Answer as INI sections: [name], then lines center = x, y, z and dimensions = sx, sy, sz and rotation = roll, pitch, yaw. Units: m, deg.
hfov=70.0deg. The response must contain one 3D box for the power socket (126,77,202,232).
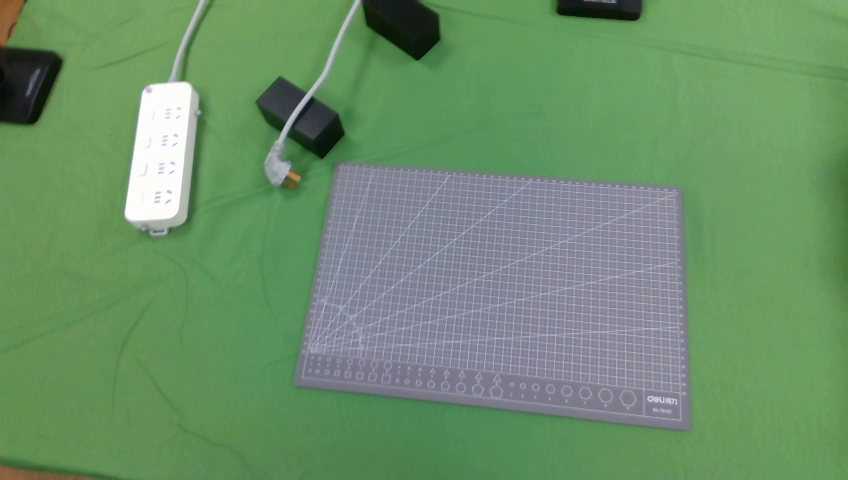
[power socket]
center = -0.344, -0.121, 0.808
dimensions = 0.072, 0.033, 0.225
rotation = -2, 69, 1

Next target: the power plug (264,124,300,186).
[power plug]
center = -0.175, -0.104, 0.779
dimensions = 0.053, 0.073, 0.035
rotation = 29, 27, -22
